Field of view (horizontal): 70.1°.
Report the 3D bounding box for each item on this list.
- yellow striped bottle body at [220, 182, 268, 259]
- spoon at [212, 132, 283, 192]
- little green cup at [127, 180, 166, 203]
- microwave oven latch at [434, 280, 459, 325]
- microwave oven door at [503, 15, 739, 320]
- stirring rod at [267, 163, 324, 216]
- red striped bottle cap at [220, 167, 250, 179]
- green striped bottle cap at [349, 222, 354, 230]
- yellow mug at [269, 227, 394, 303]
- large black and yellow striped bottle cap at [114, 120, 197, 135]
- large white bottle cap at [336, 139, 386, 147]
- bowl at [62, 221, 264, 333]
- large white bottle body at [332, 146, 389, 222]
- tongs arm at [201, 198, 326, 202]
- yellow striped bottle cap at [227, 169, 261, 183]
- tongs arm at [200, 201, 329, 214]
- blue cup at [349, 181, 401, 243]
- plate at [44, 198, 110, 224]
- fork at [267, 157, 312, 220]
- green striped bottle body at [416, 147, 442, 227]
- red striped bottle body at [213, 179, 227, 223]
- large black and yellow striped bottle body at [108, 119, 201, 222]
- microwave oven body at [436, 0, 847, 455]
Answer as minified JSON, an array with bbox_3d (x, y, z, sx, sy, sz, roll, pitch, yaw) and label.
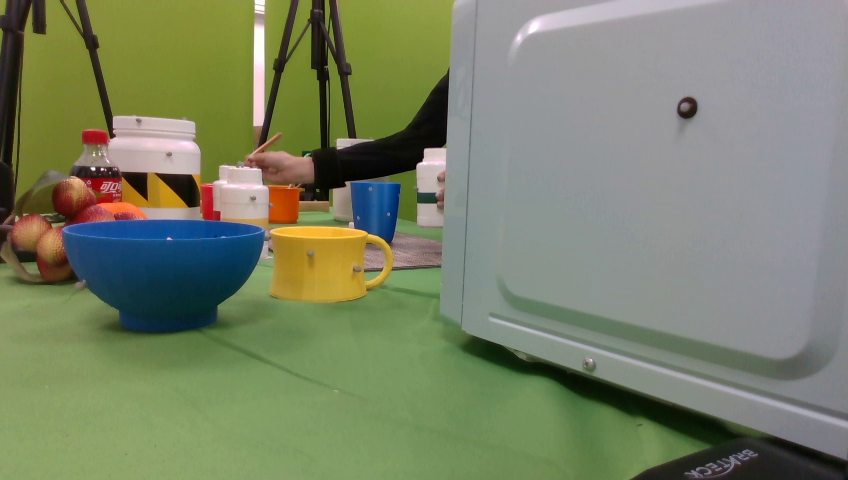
[{"bbox_3d":[-0.246,-0.036,0.825,0.063,0.120,0.063,3,8,0],"label":"yellow striped bottle body"},{"bbox_3d":[-0.356,-0.159,1.231,0.022,0.194,0.041,48,-24,-26],"label":"spoon"},{"bbox_3d":[-0.486,-0.086,1.061,0.061,0.038,0.061,1,7,0],"label":"little green cup"},{"bbox_3d":[0.044,0.045,0.470,0.079,0.029,0.030,-2,8,-39],"label":"microwave oven latch"},{"bbox_3d":[0.217,-0.065,0.601,0.358,0.243,0.039,-4,10,-41],"label":"microwave oven door"},{"bbox_3d":[-0.278,-0.104,1.294,0.176,0.006,0.014,-47,27,-18],"label":"stirring rod"},{"bbox_3d":[-0.281,-0.099,0.901,0.044,0.017,0.044,-1,4,0],"label":"red striped bottle cap"},{"bbox_3d":[-0.122,-0.024,1.155,0.044,0.020,0.044,-3,10,1],"label":"green striped bottle cap"},{"bbox_3d":[-0.094,0.023,0.629,0.131,0.064,0.099,0,7,-22],"label":"yellow mug"},{"bbox_3d":[-0.407,-0.171,0.920,0.115,0.019,0.115,2,9,0],"label":"large black and yellow striped bottle cap"},{"bbox_3d":[-0.143,-0.219,1.375,0.115,0.018,0.115,2,8,0],"label":"large white bottle cap"},{"bbox_3d":[-0.209,0.029,0.496,0.151,0.077,0.151,2,7,0],"label":"bowl"},{"bbox_3d":[-0.146,-0.136,1.388,0.131,0.184,0.130,2,8,0],"label":"large white bottle body"},{"bbox_3d":[-0.433,-0.090,1.508,0.390,0.028,0.028,-1,2,-29],"label":"tongs arm"},{"bbox_3d":[-0.243,-0.086,0.818,0.044,0.018,0.044,3,6,0],"label":"yellow striped bottle cap"},{"bbox_3d":[-0.378,-0.079,1.440,0.387,0.026,0.050,-4,8,-44],"label":"tongs arm"},{"bbox_3d":[-0.082,-0.047,1.010,0.093,0.100,0.092,1,7,0],"label":"blue cup"},{"bbox_3d":[-0.617,-0.056,1.179,0.209,0.038,0.209,3,7,0],"label":"plate"},{"bbox_3d":[-0.289,-0.116,1.321,0.028,0.019,0.207,6,51,19],"label":"fork"},{"bbox_3d":[0.019,-0.080,0.921,0.063,0.119,0.063,-1,4,0],"label":"green striped bottle body"},{"bbox_3d":[-0.284,-0.048,0.909,0.063,0.119,0.063,3,12,0],"label":"red striped bottle body"},{"bbox_3d":[-0.412,-0.088,0.930,0.131,0.184,0.130,3,7,0],"label":"large black and yellow striped bottle body"},{"bbox_3d":[0.279,-0.040,0.465,0.444,0.260,0.324,-3,9,-41],"label":"microwave oven body"}]
